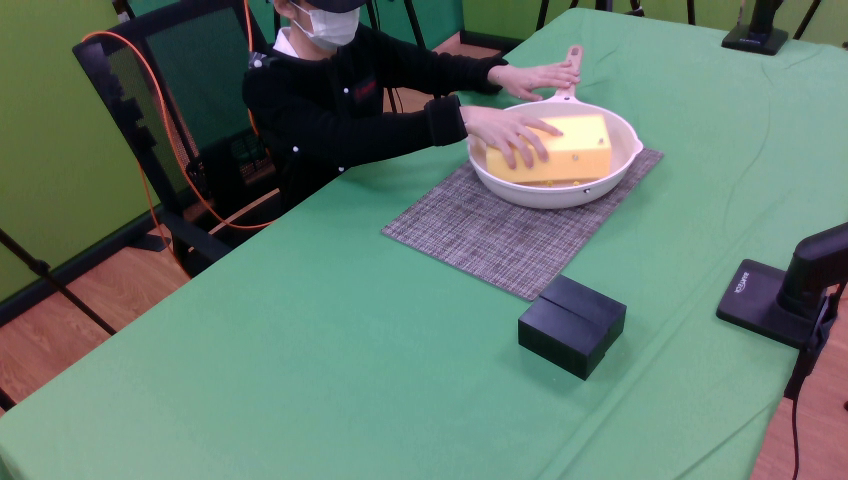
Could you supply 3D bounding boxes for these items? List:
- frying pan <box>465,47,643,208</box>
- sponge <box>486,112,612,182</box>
[{"bbox_3d":[0.255,-0.228,1.135,0.305,0.103,0.487,9,51,17],"label":"frying pan"},{"bbox_3d":[0.214,-0.164,1.066,0.207,0.061,0.117,-4,40,4],"label":"sponge"}]
